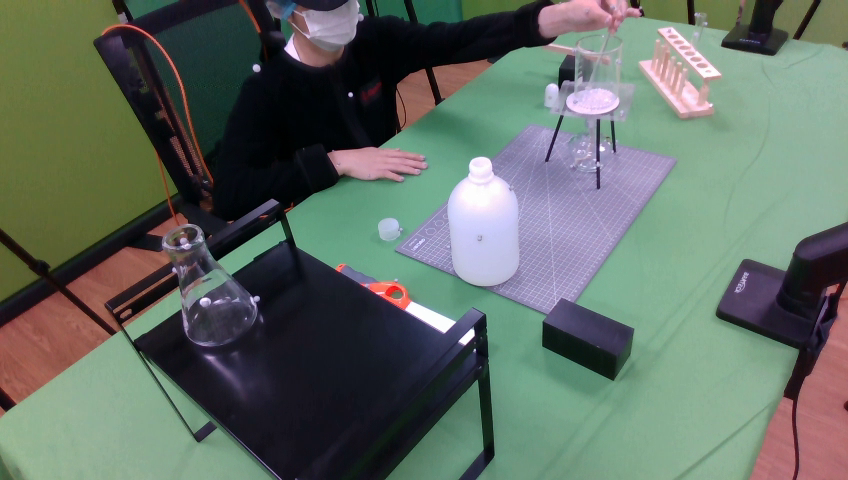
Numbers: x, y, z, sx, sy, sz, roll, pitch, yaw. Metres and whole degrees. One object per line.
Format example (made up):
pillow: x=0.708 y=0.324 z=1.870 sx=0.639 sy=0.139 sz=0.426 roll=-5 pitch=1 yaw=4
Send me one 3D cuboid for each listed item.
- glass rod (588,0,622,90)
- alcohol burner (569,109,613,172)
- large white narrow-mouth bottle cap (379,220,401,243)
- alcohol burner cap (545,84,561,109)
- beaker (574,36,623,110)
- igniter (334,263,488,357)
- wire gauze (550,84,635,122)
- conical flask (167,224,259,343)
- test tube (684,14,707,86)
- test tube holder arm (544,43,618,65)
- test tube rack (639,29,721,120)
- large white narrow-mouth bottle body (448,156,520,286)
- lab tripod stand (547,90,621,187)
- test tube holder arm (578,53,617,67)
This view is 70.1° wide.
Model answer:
glass rod: x=0.290 y=-0.320 z=0.958 sx=0.008 sy=0.200 sz=0.008 roll=2 pitch=52 yaw=-3
alcohol burner: x=0.297 y=-0.181 z=1.073 sx=0.078 sy=0.119 sz=0.077 roll=-5 pitch=43 yaw=5
large white narrow-mouth bottle cap: x=-0.057 y=-0.015 z=1.011 sx=0.038 sy=0.024 sz=0.037 roll=-4 pitch=40 yaw=4
alcohol burner cap: x=0.274 y=-0.308 z=1.285 sx=0.034 sy=0.048 sz=0.033 roll=-5 pitch=42 yaw=5
beaker: x=0.285 y=-0.273 z=0.990 sx=0.073 sy=0.101 sz=0.084 roll=15 pitch=46 yaw=27
igniter: x=-0.030 y=0.095 z=0.872 sx=0.274 sy=0.025 sz=0.057 roll=23 pitch=60 yaw=31
wire gauze: x=0.285 y=-0.234 z=1.021 sx=0.124 sy=0.011 sz=0.121 roll=8 pitch=41 yaw=24
conical flask: x=-0.220 y=0.041 z=0.613 sx=0.075 sy=0.122 sz=0.075 roll=-5 pitch=40 yaw=4
test tube: x=0.541 y=-0.379 z=1.216 sx=0.017 sy=0.151 sz=0.017 roll=-2 pitch=44 yaw=3
test tube holder arm: x=0.345 y=-0.413 z=1.341 sx=0.177 sy=0.015 sz=0.013 roll=26 pitch=49 yaw=32
test tube rack: x=0.527 y=-0.351 z=1.262 sx=0.067 sy=0.085 sz=0.241 roll=-8 pitch=40 yaw=1
large white narrow-mouth bottle body: x=0.086 y=-0.032 z=0.869 sx=0.102 sy=0.195 sz=0.101 roll=-4 pitch=40 yaw=4
lab tripod stand: x=0.289 y=-0.184 z=1.062 sx=0.148 sy=0.132 sz=0.147 roll=-6 pitch=41 yaw=6
test tube holder arm: x=0.376 y=-0.394 z=1.314 sx=0.087 sy=0.015 sz=0.010 roll=26 pitch=49 yaw=32
